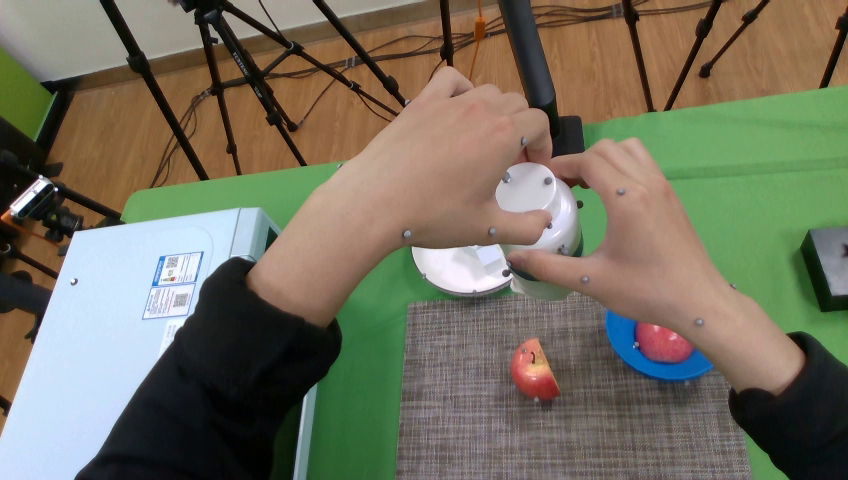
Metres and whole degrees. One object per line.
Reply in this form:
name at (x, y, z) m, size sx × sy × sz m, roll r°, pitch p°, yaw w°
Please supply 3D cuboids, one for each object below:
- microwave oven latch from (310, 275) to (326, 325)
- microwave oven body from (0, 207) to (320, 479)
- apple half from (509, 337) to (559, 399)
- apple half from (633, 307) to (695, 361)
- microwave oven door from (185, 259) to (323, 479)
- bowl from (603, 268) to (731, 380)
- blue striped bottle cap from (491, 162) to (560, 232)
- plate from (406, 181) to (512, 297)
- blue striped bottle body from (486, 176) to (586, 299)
microwave oven latch at (-0.176, 0.097, 0.975) m, size 0.030 × 0.030 × 0.078 m, roll -6°, pitch 59°, yaw 13°
microwave oven body at (-0.349, 0.218, 0.840) m, size 0.325 × 0.263 × 0.437 m, roll -7°, pitch 59°, yaw 13°
apple half at (0.144, 0.179, 0.819) m, size 0.053 × 0.075 × 0.080 m, roll -24°, pitch 60°, yaw 7°
apple half at (0.314, 0.118, 0.791) m, size 0.081 × 0.033 × 0.080 m, roll -9°, pitch 57°, yaw 14°
microwave oven door at (-0.210, 0.233, 0.781) m, size 0.039 × 0.246 × 0.352 m, roll -8°, pitch 58°, yaw 14°
bowl at (0.314, 0.120, 0.796) m, size 0.151 × 0.077 × 0.150 m, roll -8°, pitch 58°, yaw 14°
blue striped bottle cap at (0.068, -0.029, 0.406) m, size 0.044 × 0.021 × 0.044 m, roll -10°, pitch 61°, yaw 19°
plate at (0.075, 0.001, 0.974) m, size 0.207 × 0.039 × 0.205 m, roll -8°, pitch 59°, yaw 13°
blue striped bottle body at (0.084, -0.005, 0.451) m, size 0.063 × 0.122 × 0.062 m, roll -8°, pitch 61°, yaw 16°
